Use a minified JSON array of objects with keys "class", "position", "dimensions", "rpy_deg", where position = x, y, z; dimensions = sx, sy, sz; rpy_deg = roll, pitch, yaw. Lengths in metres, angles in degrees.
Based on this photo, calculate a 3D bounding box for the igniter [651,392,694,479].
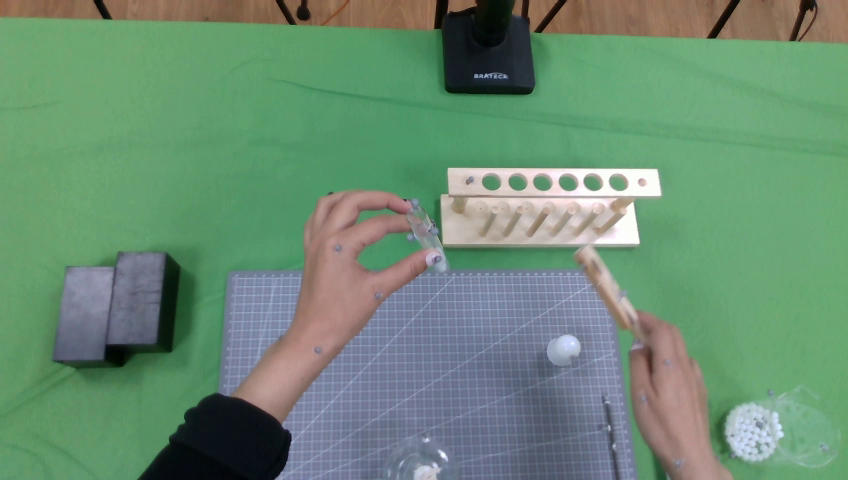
[{"class":"igniter","position":[0.276,0.301,0.640],"dimensions":[0.057,0.025,0.274],"rpy_deg":[4,71,-14]}]

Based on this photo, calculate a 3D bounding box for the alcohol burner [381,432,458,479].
[{"class":"alcohol burner","position":[-0.003,0.227,0.591],"dimensions":[0.078,0.120,0.077],"rpy_deg":[2,68,-4]}]

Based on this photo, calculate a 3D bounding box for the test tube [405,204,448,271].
[{"class":"test tube","position":[0.005,0.002,0.501],"dimensions":[0.017,0.151,0.017],"rpy_deg":[-2,73,8]}]

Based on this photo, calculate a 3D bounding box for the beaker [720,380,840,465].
[{"class":"beaker","position":[0.373,0.196,0.647],"dimensions":[0.074,0.101,0.083],"rpy_deg":[13,69,0]}]

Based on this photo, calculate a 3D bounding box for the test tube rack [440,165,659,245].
[{"class":"test tube rack","position":[0.144,-0.040,0.714],"dimensions":[0.243,0.085,0.066],"rpy_deg":[0,71,-5]}]

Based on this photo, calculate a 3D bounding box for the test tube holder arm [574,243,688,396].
[{"class":"test tube holder arm","position":[0.200,0.078,0.583],"dimensions":[0.013,0.015,0.178],"rpy_deg":[-39,95,-22]}]

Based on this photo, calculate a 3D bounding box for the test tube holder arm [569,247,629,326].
[{"class":"test tube holder arm","position":[0.169,0.045,0.577],"dimensions":[0.010,0.015,0.088],"rpy_deg":[-38,94,-22]}]

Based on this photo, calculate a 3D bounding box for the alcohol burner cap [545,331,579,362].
[{"class":"alcohol burner cap","position":[0.158,0.118,0.681],"dimensions":[0.034,0.048,0.033],"rpy_deg":[2,71,-4]}]

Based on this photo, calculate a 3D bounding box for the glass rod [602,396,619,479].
[{"class":"glass rod","position":[0.208,0.269,0.652],"dimensions":[0.008,0.008,0.198],"rpy_deg":[-1,71,-6]}]
